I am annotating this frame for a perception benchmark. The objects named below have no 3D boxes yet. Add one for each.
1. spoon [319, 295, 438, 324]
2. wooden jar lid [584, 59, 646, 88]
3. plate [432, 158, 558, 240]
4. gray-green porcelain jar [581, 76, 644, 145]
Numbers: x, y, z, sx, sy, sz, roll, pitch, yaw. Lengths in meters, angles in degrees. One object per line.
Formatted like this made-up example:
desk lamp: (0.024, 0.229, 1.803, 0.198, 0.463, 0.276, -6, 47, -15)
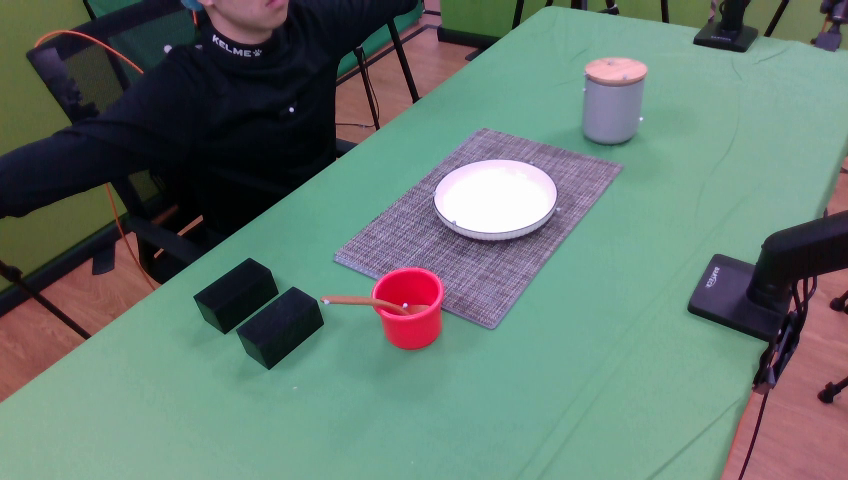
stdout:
spoon: (-0.055, 0.086, 0.784, 0.195, 0.021, 0.041, 19, 19, -44)
wooden jar lid: (0.343, -0.298, 1.089, 0.108, 0.021, 0.108, -4, 38, 3)
plate: (0.118, -0.066, 1.013, 0.207, 0.039, 0.206, -4, 41, 4)
gray-green porcelain jar: (0.350, -0.251, 1.131, 0.106, 0.127, 0.105, -4, 41, 4)
